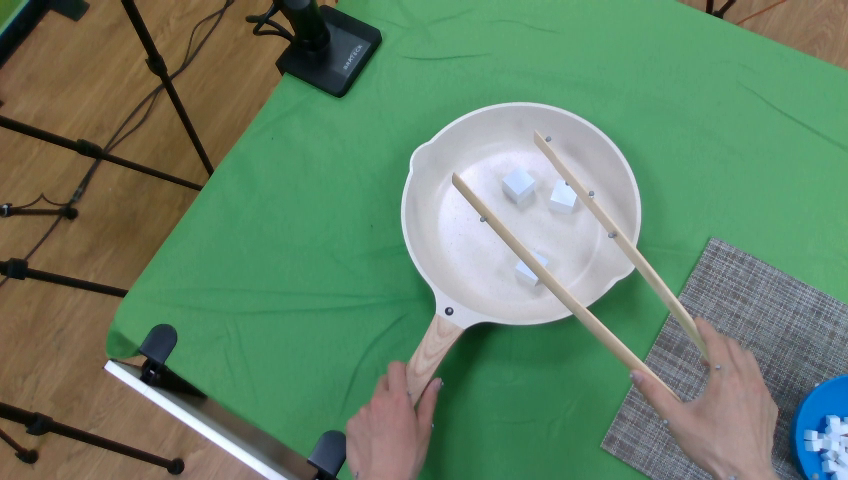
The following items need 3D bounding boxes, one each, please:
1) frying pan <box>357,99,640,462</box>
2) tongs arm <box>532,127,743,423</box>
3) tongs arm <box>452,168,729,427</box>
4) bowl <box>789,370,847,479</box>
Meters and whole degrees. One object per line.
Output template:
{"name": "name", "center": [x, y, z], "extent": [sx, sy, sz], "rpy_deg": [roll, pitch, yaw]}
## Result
{"name": "frying pan", "center": [0.062, 0.045, 0.734], "extent": [0.305, 0.103, 0.486], "rpy_deg": [30, 70, 14]}
{"name": "tongs arm", "center": [0.209, 0.018, 0.657], "extent": [0.051, 0.027, 0.381], "rpy_deg": [-26, 62, -14]}
{"name": "tongs arm", "center": [0.154, 0.048, 0.642], "extent": [0.028, 0.028, 0.384], "rpy_deg": [-32, 63, -20]}
{"name": "bowl", "center": [0.462, 0.217, 0.652], "extent": [0.151, 0.077, 0.150], "rpy_deg": [-1, 73, 5]}
